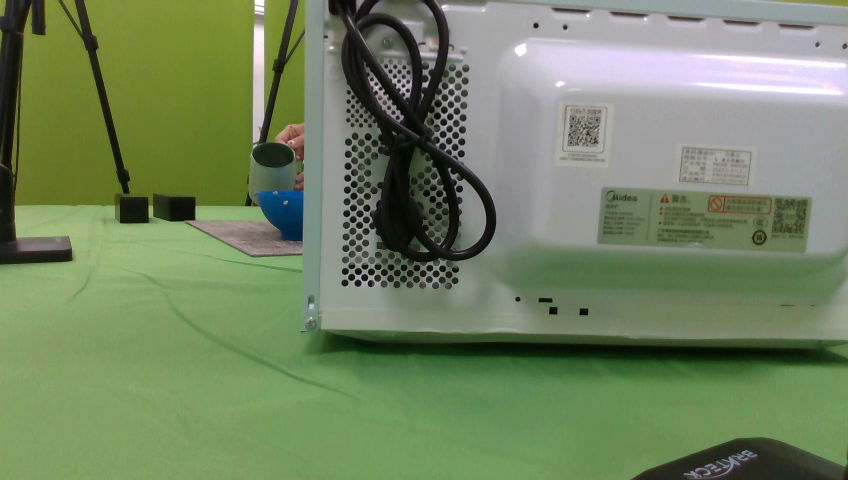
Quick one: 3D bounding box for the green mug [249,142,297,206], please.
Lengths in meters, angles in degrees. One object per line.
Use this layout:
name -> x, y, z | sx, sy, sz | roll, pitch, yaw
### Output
green mug -> -0.279, -0.130, 1.152 | 0.092, 0.105, 0.125 | 17, 45, 5

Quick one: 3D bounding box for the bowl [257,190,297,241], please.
bowl -> -0.206, -0.041, 1.026 | 0.151, 0.077, 0.151 | 3, 8, 0

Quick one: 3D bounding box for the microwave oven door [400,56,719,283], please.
microwave oven door -> 0.155, -0.077, 0.697 | 0.356, 0.243, 0.039 | 2, 8, -5

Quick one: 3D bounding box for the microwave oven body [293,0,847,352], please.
microwave oven body -> 0.122, -0.055, 0.550 | 0.442, 0.260, 0.325 | 3, 7, -5

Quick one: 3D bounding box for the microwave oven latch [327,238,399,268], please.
microwave oven latch -> -0.069, 0.015, 0.694 | 0.079, 0.029, 0.030 | 3, 7, -3
